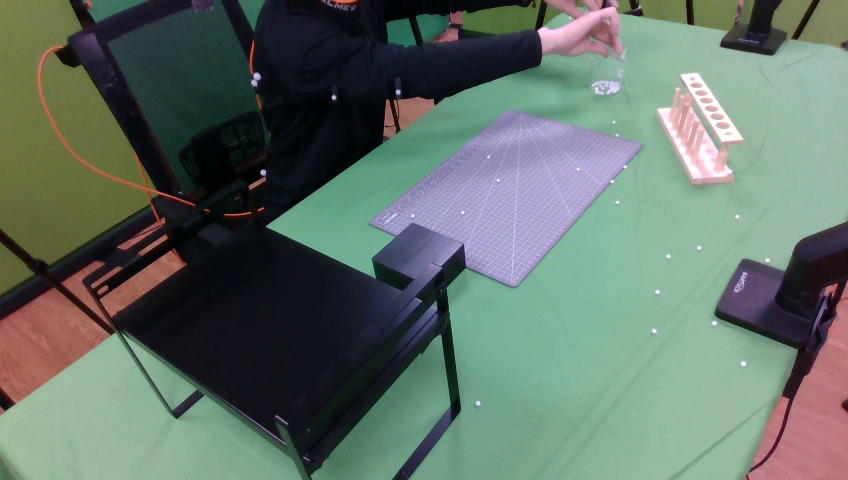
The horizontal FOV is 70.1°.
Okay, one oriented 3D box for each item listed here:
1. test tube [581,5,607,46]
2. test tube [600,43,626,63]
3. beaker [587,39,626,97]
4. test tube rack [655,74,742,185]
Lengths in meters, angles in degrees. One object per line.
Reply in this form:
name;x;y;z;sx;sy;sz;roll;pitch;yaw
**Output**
test tube;0.365;-0.464;1.300;0.017;0.017;0.149;-8;50;-1
test tube;0.365;-0.363;1.174;0.017;0.017;0.149;-4;26;4
beaker;0.386;-0.361;1.280;0.074;0.101;0.083;-22;43;-15
test tube rack;0.488;-0.205;1.093;0.067;0.085;0.241;-3;40;5
